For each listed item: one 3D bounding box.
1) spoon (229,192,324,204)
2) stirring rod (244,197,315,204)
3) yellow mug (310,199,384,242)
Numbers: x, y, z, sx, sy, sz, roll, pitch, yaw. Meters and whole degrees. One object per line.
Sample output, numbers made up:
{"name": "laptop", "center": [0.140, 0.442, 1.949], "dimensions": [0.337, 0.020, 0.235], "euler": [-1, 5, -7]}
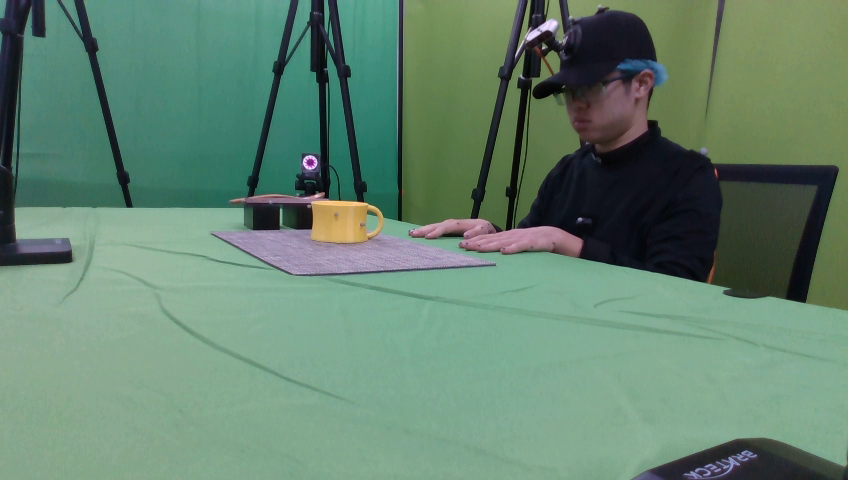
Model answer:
{"name": "spoon", "center": [-0.297, -0.086, 1.230], "dimensions": [0.195, 0.021, 0.041], "euler": [-3, 9, -26]}
{"name": "stirring rod", "center": [-0.269, -0.077, 1.200], "dimensions": [0.177, 0.006, 0.014], "euler": [-1, 41, -35]}
{"name": "yellow mug", "center": [-0.132, -0.035, 1.054], "dimensions": [0.131, 0.064, 0.099], "euler": [0, 8, -23]}
